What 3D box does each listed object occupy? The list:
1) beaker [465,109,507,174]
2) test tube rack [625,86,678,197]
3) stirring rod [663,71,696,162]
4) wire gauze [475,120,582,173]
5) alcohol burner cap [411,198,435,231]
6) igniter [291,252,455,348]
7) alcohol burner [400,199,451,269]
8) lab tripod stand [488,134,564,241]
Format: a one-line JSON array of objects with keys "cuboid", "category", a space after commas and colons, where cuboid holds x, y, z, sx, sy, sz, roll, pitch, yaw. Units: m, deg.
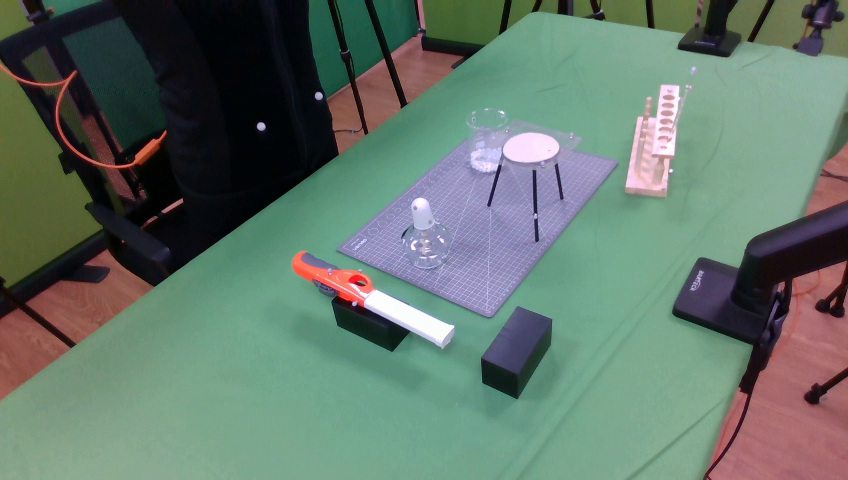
[{"cuboid": [0.118, -0.180, 1.109, 0.084, 0.100, 0.073, -27, 44, -23], "category": "beaker"}, {"cuboid": [0.412, -0.184, 1.088, 0.066, 0.085, 0.242, 9, 43, 18], "category": "test tube rack"}, {"cuboid": [0.410, -0.195, 0.981, 0.014, 0.177, 0.006, 12, 50, 14], "category": "stirring rod"}, {"cuboid": [0.161, -0.143, 0.928, 0.120, 0.011, 0.125, 20, 47, 31], "category": "wire gauze"}, {"cuboid": [-0.003, -0.041, 0.893, 0.034, 0.048, 0.033, -8, 41, 7], "category": "alcohol burner cap"}, {"cuboid": [-0.080, 0.076, 0.822, 0.274, 0.025, 0.057, 23, 45, 27], "category": "igniter"}, {"cuboid": [0.000, -0.013, 0.917, 0.078, 0.119, 0.077, -5, 41, 5], "category": "alcohol burner"}, {"cuboid": [0.168, -0.092, 0.972, 0.148, 0.132, 0.147, -5, 41, 5], "category": "lab tripod stand"}]
